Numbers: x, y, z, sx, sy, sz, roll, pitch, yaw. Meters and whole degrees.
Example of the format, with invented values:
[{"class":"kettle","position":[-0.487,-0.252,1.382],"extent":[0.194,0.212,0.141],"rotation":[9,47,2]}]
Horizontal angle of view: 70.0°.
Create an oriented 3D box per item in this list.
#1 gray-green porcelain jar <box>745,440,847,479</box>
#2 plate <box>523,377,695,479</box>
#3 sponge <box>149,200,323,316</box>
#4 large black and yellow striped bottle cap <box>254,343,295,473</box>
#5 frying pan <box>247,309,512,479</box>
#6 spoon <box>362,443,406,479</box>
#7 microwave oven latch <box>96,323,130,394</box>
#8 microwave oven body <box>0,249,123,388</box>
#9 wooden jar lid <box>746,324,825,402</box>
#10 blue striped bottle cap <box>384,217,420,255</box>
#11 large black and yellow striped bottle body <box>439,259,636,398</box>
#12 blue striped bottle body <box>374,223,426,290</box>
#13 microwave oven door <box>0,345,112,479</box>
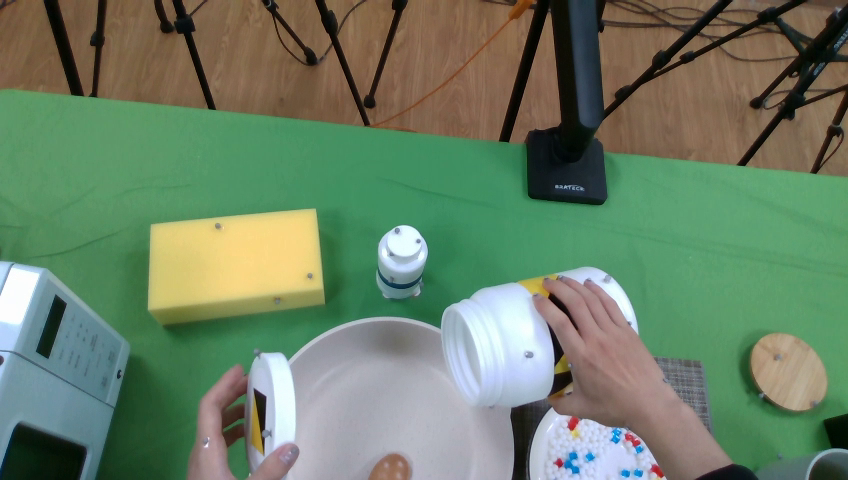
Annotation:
[{"class":"gray-green porcelain jar","position":[0.453,0.296,0.710],"extent":[0.106,0.127,0.105],"rotation":[3,65,-5]},{"class":"plate","position":[0.221,0.273,0.738],"extent":[0.209,0.038,0.207],"rotation":[3,65,-5]},{"class":"sponge","position":[-0.240,0.022,0.787],"extent":[0.207,0.061,0.117],"rotation":[-7,66,-11]},{"class":"large black and yellow striped bottle cap","position":[-0.137,0.150,0.546],"extent":[0.019,0.115,0.114],"rotation":[0,64,-24]},{"class":"frying pan","position":[-0.011,0.310,0.656],"extent":[0.307,0.103,0.483],"rotation":[-16,60,-13]},{"class":"spoon","position":[-0.085,0.291,0.661],"extent":[0.041,0.022,0.194],"rotation":[48,42,8]},{"class":"microwave oven latch","position":[-0.368,0.138,0.710],"extent":[0.030,0.029,0.078],"rotation":[6,65,-4]},{"class":"microwave oven body","position":[-0.518,0.240,0.538],"extent":[0.326,0.261,0.438],"rotation":[6,65,-4]},{"class":"wooden jar lid","position":[0.493,0.169,0.833],"extent":[0.108,0.021,0.107],"rotation":[2,67,-5]},{"class":"blue striped bottle cap","position":[-0.026,-0.005,0.736],"extent":[0.044,0.021,0.044],"rotation":[2,62,-4]},{"class":"large black and yellow striped bottle body","position":[0.121,0.098,0.667],"extent":[0.184,0.131,0.129],"rotation":[-10,66,-19]},{"class":"blue striped bottle body","position":[-0.031,0.016,0.783],"extent":[0.063,0.121,0.062],"rotation":[3,65,-6]},{"class":"microwave oven door","position":[-0.377,0.291,0.526],"extent":[0.039,0.245,0.353],"rotation":[6,64,-4]}]
